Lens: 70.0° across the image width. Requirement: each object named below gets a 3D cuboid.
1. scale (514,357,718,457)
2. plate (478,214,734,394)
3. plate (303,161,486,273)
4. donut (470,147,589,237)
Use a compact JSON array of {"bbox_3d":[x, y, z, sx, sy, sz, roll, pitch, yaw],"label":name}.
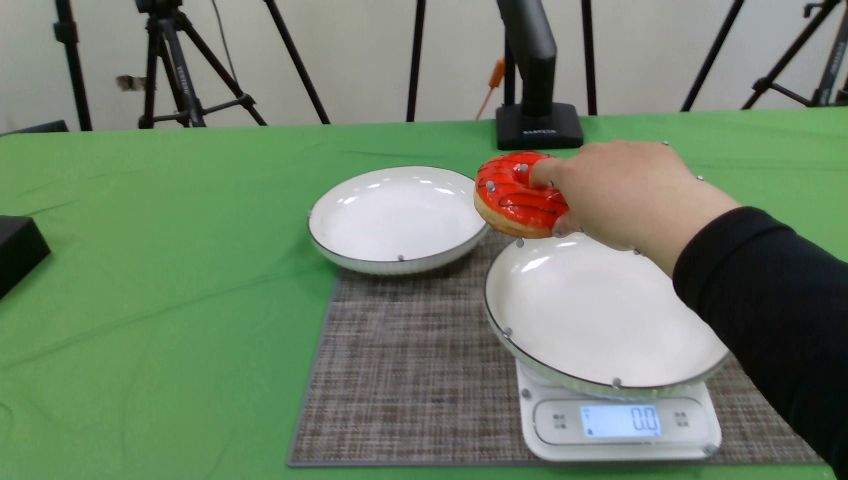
[{"bbox_3d":[0.152,0.092,0.523,0.148,0.032,0.199,-2,38,4],"label":"scale"},{"bbox_3d":[0.150,0.052,0.521,0.207,0.039,0.205,-2,38,2],"label":"plate"},{"bbox_3d":[-0.031,-0.026,0.690,0.209,0.038,0.207,-3,36,3],"label":"plate"},{"bbox_3d":[0.087,-0.040,0.502,0.099,0.048,0.098,2,40,-1],"label":"donut"}]
